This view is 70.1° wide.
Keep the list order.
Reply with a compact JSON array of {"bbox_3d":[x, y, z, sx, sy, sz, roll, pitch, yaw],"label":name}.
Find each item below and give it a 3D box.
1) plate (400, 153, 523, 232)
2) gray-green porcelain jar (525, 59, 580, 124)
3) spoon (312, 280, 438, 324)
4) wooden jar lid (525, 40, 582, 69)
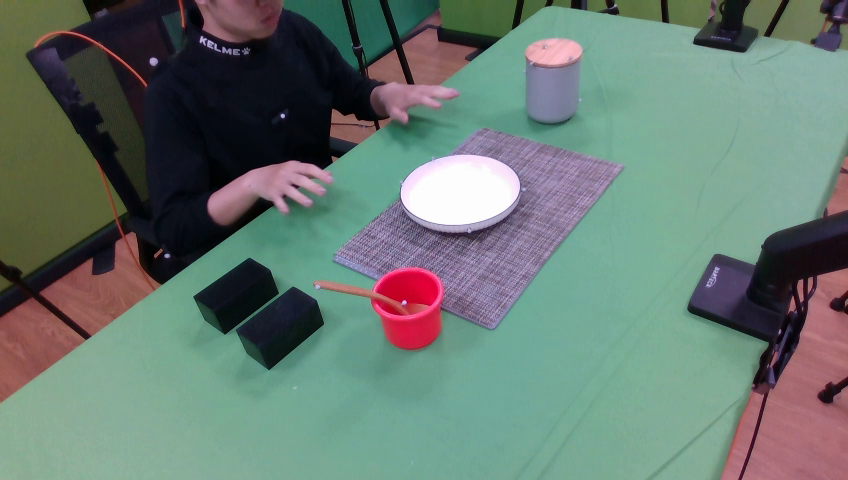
[{"bbox_3d":[0.065,-0.078,1.034,0.207,0.039,0.206,-4,41,4],"label":"plate"},{"bbox_3d":[0.256,-0.306,1.209,0.106,0.127,0.105,-4,41,4],"label":"gray-green porcelain jar"},{"bbox_3d":[-0.060,0.078,0.793,0.195,0.021,0.041,24,25,-35],"label":"spoon"},{"bbox_3d":[0.249,-0.354,1.167,0.108,0.021,0.108,-4,44,5],"label":"wooden jar lid"}]
